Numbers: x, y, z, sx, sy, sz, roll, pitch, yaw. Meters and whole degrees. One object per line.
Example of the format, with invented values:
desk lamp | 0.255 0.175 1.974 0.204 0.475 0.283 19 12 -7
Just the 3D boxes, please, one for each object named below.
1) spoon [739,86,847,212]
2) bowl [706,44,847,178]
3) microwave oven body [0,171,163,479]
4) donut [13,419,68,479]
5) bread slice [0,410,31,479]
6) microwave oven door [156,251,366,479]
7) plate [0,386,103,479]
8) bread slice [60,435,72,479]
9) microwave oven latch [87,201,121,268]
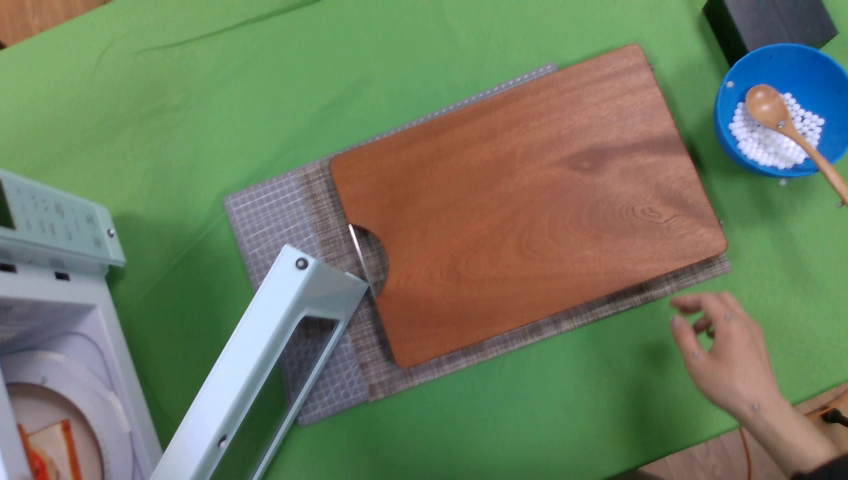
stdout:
spoon | 0.406 -0.096 0.652 0.041 0.022 0.191 -22 58 -1
bowl | 0.389 -0.135 0.689 0.151 0.077 0.151 -1 82 5
microwave oven body | -0.473 0.198 0.615 0.326 0.261 0.440 -24 81 0
donut | -0.425 0.238 0.634 0.099 0.048 0.098 -1 78 4
bread slice | -0.444 0.240 0.594 0.134 0.018 0.106 -26 82 12
microwave oven door | -0.176 0.182 0.590 0.039 0.245 0.355 28 85 9
plate | -0.447 0.262 0.653 0.208 0.039 0.207 0 81 0
bread slice | -0.452 0.266 0.655 0.131 0.019 0.104 0 83 3
microwave oven latch | -0.398 -0.007 0.735 0.030 0.029 0.079 -24 82 0
